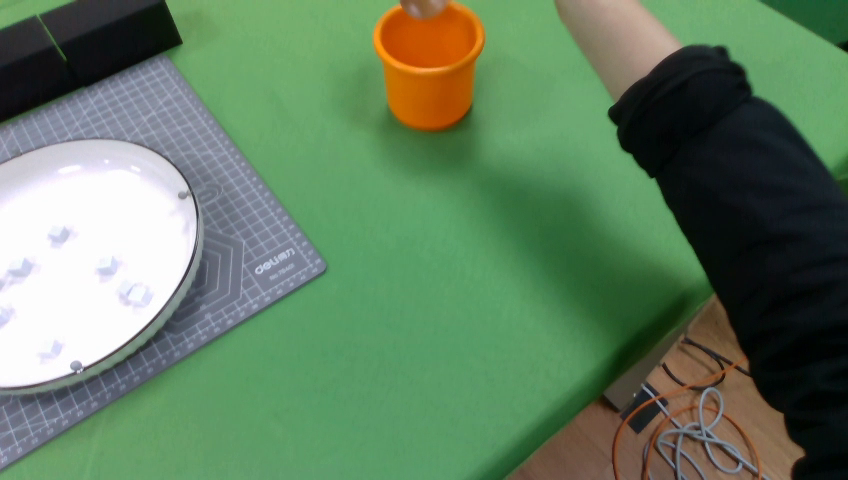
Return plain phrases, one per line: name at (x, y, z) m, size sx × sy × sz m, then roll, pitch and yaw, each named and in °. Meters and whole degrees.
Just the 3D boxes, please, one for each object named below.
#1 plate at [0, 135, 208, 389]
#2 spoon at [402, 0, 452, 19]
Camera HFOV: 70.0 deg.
plate at (-0.261, 0.012, 0.444) m, size 0.209 × 0.038 × 0.207 m, roll 0°, pitch 58°, yaw 0°
spoon at (0.043, -0.233, 0.418) m, size 0.042 × 0.194 × 0.021 m, roll 31°, pitch 45°, yaw -17°
